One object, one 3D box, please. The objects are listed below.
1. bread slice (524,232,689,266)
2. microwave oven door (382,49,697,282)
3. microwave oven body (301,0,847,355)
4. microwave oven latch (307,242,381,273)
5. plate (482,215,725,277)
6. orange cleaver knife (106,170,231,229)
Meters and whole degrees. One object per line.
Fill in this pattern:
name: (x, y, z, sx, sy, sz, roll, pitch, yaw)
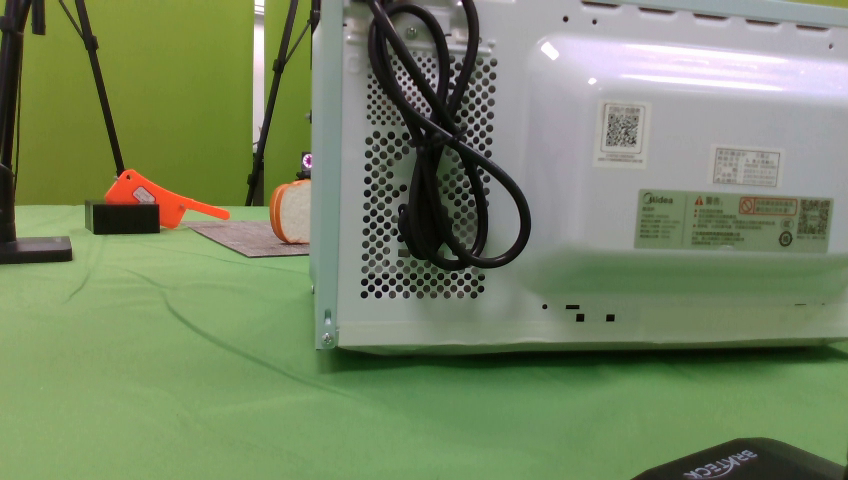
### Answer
bread slice: (0.174, 0.007, 0.565, 0.134, 0.018, 0.107, -5, 4, 28)
microwave oven door: (0.135, -0.077, 0.685, 0.357, 0.243, 0.039, 1, 8, -12)
microwave oven body: (0.120, -0.053, 0.535, 0.443, 0.260, 0.325, 2, 7, -11)
microwave oven latch: (-0.086, 0.019, 0.656, 0.079, 0.029, 0.030, 2, 7, -10)
plate: (0.156, 0.003, 0.545, 0.208, 0.039, 0.207, -1, 6, 0)
orange cleaver knife: (-0.458, -0.060, 1.097, 0.212, 0.077, 0.012, 23, -4, -38)
